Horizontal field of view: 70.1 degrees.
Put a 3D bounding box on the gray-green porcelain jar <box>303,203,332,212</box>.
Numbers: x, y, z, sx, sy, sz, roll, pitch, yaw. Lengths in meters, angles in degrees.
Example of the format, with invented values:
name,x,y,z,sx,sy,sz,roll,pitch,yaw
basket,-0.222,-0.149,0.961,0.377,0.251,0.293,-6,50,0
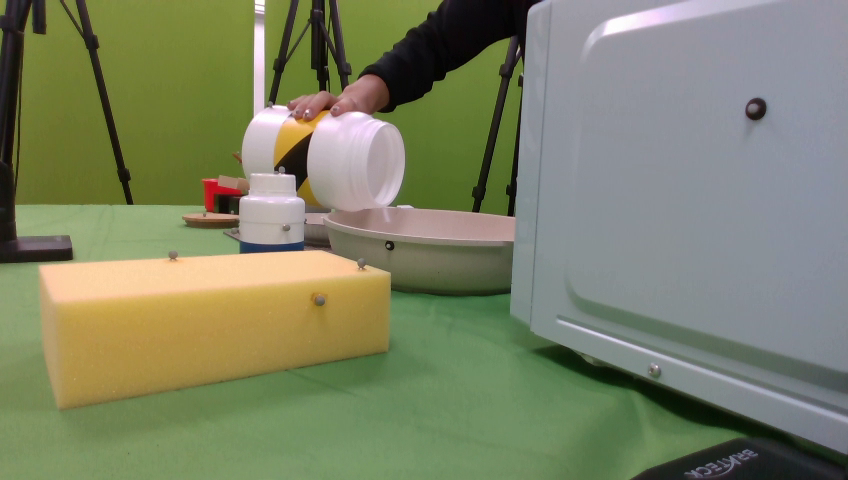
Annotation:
name,x,y,z,sx,sy,sz,roll,pitch,yaw
gray-green porcelain jar,-0.238,-0.092,1.221,0.106,0.126,0.106,2,7,0

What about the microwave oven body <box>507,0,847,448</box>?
name,x,y,z,sx,sy,sz,roll,pitch,yaw
microwave oven body,0.331,-0.042,0.425,0.444,0.260,0.324,-2,8,-31

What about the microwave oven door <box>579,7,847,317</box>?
name,x,y,z,sx,sy,sz,roll,pitch,yaw
microwave oven door,0.294,-0.067,0.570,0.358,0.243,0.039,-3,9,-31

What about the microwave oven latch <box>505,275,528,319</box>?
name,x,y,z,sx,sy,sz,roll,pitch,yaw
microwave oven latch,0.100,0.042,0.471,0.079,0.029,0.030,-1,7,-28

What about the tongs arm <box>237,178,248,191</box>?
name,x,y,z,sx,sy,sz,roll,pitch,yaw
tongs arm,-0.241,-0.095,1.374,0.387,0.026,0.050,9,1,-37

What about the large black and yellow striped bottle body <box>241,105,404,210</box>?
name,x,y,z,sx,sy,sz,roll,pitch,yaw
large black and yellow striped bottle body,-0.131,-0.110,0.806,0.183,0.130,0.131,8,9,23

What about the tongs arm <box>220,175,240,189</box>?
name,x,y,z,sx,sy,sz,roll,pitch,yaw
tongs arm,-0.285,-0.106,1.445,0.389,0.027,0.028,10,-3,-23

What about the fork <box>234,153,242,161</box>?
name,x,y,z,sx,sy,sz,roll,pitch,yaw
fork,-0.396,-0.143,1.486,0.028,0.018,0.208,19,-26,45

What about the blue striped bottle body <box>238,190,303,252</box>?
name,x,y,z,sx,sy,sz,roll,pitch,yaw
blue striped bottle body,-0.153,-0.007,0.606,0.063,0.120,0.063,2,7,0

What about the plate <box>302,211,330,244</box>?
name,x,y,z,sx,sy,sz,roll,pitch,yaw
plate,-0.139,-0.022,1.021,0.209,0.038,0.209,2,8,0

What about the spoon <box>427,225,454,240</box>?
name,x,y,z,sx,sy,sz,roll,pitch,yaw
spoon,0.024,-0.019,1.124,0.042,0.021,0.193,-15,9,-4

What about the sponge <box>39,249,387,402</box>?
name,x,y,z,sx,sy,sz,roll,pitch,yaw
sponge,-0.142,0.047,0.420,0.208,0.061,0.117,-3,8,-36

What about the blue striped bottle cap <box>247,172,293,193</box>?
name,x,y,z,sx,sy,sz,roll,pitch,yaw
blue striped bottle cap,-0.152,-0.057,0.598,0.044,0.020,0.044,3,7,0

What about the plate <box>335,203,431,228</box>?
name,x,y,z,sx,sy,sz,roll,pitch,yaw
plate,-0.089,-0.053,1.309,0.208,0.039,0.207,2,8,0

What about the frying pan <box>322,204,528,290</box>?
name,x,y,z,sx,sy,sz,roll,pitch,yaw
frying pan,0.109,-0.018,0.800,0.490,0.102,0.305,-12,16,-30

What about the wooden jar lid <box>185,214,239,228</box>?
name,x,y,z,sx,sy,sz,roll,pitch,yaw
wooden jar lid,-0.404,-0.037,1.169,0.108,0.020,0.108,3,7,0
